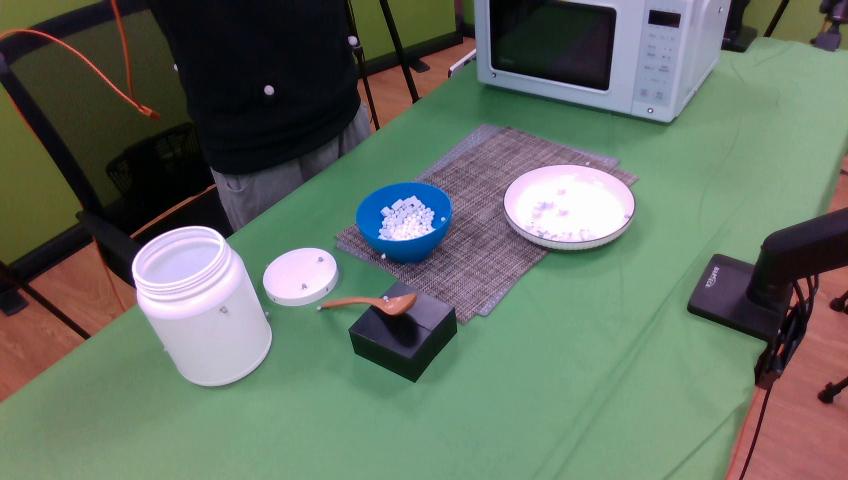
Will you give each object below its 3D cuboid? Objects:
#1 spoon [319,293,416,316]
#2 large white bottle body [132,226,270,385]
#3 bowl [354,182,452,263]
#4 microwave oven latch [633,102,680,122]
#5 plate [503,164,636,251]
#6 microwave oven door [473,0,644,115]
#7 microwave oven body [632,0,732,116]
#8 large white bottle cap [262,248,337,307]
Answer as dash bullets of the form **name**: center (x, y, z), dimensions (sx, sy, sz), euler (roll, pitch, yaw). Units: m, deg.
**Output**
- **spoon**: center (-0.082, 0.086, 0.826), dimensions (0.192, 0.022, 0.041), euler (-2, 37, 41)
- **large white bottle body**: center (-0.286, 0.085, 0.784), dimensions (0.130, 0.185, 0.130), euler (-4, 41, 4)
- **bowl**: center (-0.028, -0.017, 0.943), dimensions (0.151, 0.077, 0.150), euler (-4, 40, 4)
- **microwave oven latch**: center (0.444, -0.249, 1.157), dimensions (0.078, 0.029, 0.030), euler (21, 49, 30)
- **plate**: center (0.232, -0.051, 0.976), dimensions (0.209, 0.038, 0.208), euler (-3, 41, 3)
- **microwave oven door**: center (0.257, -0.396, 1.199), dimensions (0.353, 0.245, 0.039), euler (21, 48, 29)
- **microwave oven body**: center (0.377, -0.462, 1.267), dimensions (0.438, 0.261, 0.327), euler (21, 48, 30)
- **large white bottle cap**: center (-0.193, 0.056, 0.934), dimensions (0.115, 0.018, 0.114), euler (-5, 41, 5)
